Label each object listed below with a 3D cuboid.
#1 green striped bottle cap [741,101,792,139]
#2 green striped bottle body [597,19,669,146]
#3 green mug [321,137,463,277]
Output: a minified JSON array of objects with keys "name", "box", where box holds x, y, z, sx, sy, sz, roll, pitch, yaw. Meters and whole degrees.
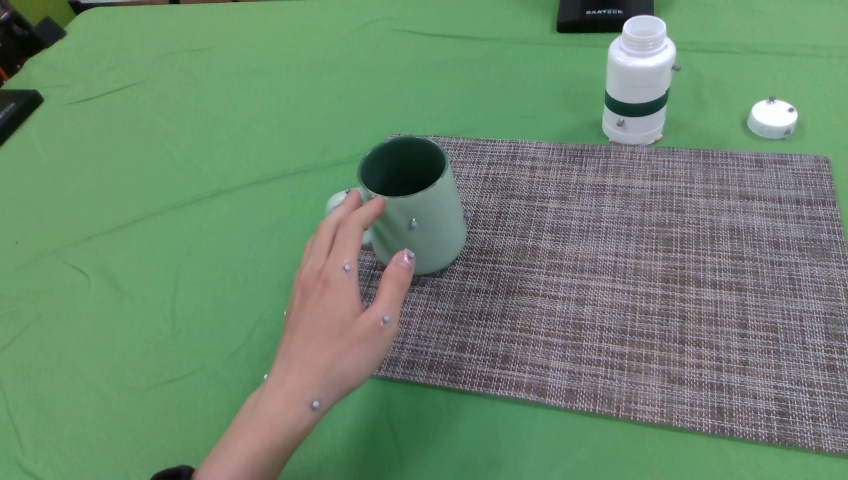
[{"name":"green striped bottle cap","box":[0.351,-0.123,0.620,0.044,0.020,0.044,-4,46,4]},{"name":"green striped bottle body","box":[0.209,-0.158,0.610,0.063,0.120,0.062,-6,49,7]},{"name":"green mug","box":[-0.030,-0.023,0.547,0.125,0.106,0.091,-15,49,-1]}]
